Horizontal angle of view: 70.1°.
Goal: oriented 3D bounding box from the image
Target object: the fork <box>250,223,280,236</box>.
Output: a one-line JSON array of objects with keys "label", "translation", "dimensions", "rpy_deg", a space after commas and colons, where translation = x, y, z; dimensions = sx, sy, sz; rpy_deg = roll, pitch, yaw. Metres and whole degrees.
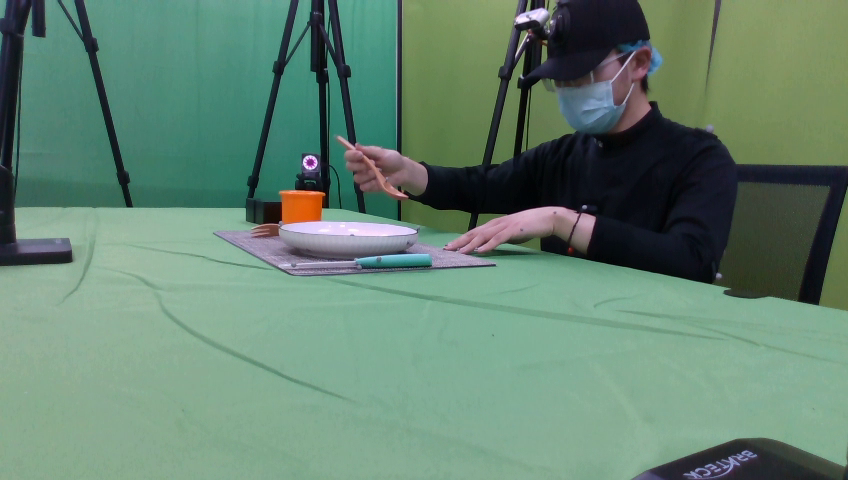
[{"label": "fork", "translation": [-0.194, -0.014, 1.051], "dimensions": [0.208, 0.028, 0.018], "rpy_deg": [3, 37, -14]}]

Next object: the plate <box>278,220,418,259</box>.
[{"label": "plate", "translation": [-0.114, -0.002, 0.914], "dimensions": [0.209, 0.038, 0.209], "rpy_deg": [2, 7, 0]}]

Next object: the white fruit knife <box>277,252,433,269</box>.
[{"label": "white fruit knife", "translation": [-0.082, 0.029, 0.772], "dimensions": [0.208, 0.016, 0.027], "rpy_deg": [-3, -20, -22]}]

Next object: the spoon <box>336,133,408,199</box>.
[{"label": "spoon", "translation": [-0.097, -0.135, 1.091], "dimensions": [0.193, 0.021, 0.042], "rpy_deg": [48, 24, 21]}]
